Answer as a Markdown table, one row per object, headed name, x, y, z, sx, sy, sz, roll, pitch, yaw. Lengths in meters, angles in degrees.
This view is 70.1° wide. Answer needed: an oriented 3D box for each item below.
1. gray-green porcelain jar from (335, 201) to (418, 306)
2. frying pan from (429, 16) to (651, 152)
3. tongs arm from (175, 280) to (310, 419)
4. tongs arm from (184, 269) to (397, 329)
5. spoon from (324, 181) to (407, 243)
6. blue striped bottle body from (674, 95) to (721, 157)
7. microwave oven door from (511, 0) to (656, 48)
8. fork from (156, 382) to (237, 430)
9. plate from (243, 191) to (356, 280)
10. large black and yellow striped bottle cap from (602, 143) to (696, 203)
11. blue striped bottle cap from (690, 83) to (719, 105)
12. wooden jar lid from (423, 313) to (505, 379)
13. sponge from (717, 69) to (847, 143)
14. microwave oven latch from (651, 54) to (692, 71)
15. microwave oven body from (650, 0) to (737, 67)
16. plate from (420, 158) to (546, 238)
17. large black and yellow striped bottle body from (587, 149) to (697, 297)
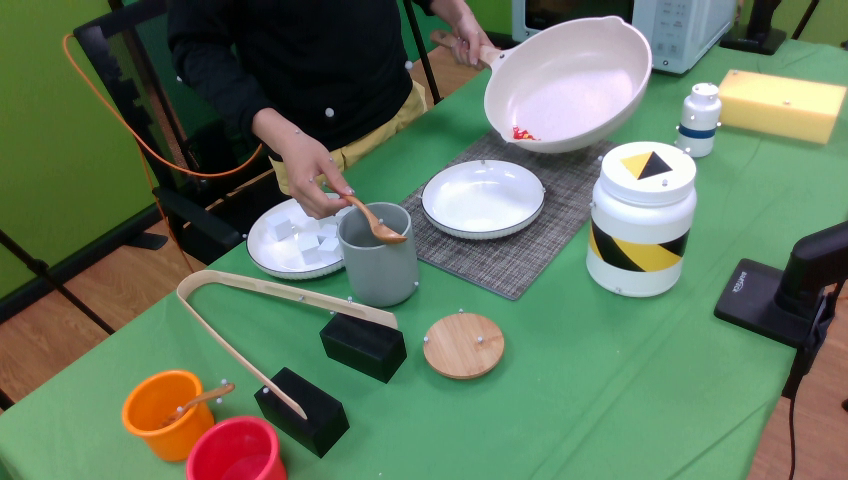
| name | x | y | z | sx | sy | sz | roll | pitch | yaw |
| --- | --- | --- | --- | --- | --- | --- | --- | --- | --- |
| gray-green porcelain jar | -0.064 | 0.024 | 0.872 | 0.106 | 0.127 | 0.105 | -4 | 40 | 4 |
| frying pan | 0.183 | -0.319 | 1.125 | 0.484 | 0.103 | 0.307 | 36 | 79 | 33 |
| tongs arm | -0.254 | 0.133 | 0.800 | 0.028 | 0.028 | 0.384 | -41 | 41 | -23 |
| tongs arm | -0.203 | 0.085 | 0.847 | 0.382 | 0.027 | 0.051 | 11 | 45 | 34 |
| spoon | -0.086 | -0.043 | 0.834 | 0.042 | 0.021 | 0.192 | -2 | 33 | -41 |
| blue striped bottle body | 0.486 | -0.213 | 1.072 | 0.063 | 0.121 | 0.063 | -4 | 41 | 4 |
| microwave oven door | 0.350 | -0.539 | 1.349 | 0.353 | 0.245 | 0.039 | 24 | 50 | 31 |
| fork | -0.262 | 0.189 | 0.690 | 0.206 | 0.018 | 0.028 | -34 | 9 | 42 |
| plate | -0.187 | -0.005 | 0.992 | 0.207 | 0.039 | 0.206 | -4 | 41 | 4 |
| large black and yellow striped bottle cap | 0.289 | -0.088 | 0.778 | 0.115 | 0.019 | 0.114 | -5 | 39 | 4 |
| blue striped bottle cap | 0.481 | -0.251 | 1.038 | 0.044 | 0.021 | 0.044 | -5 | 40 | 5 |
| wooden jar lid | 0.053 | 0.142 | 0.800 | 0.108 | 0.021 | 0.108 | -5 | 39 | 4 |
| sponge | 0.663 | -0.256 | 1.142 | 0.205 | 0.061 | 0.118 | 19 | 47 | 28 |
| microwave oven latch | 0.531 | -0.386 | 1.301 | 0.078 | 0.029 | 0.030 | 24 | 50 | 32 |
| microwave oven body | 0.475 | -0.602 | 1.411 | 0.438 | 0.261 | 0.327 | 23 | 50 | 32 |
| plate | 0.099 | -0.067 | 1.017 | 0.209 | 0.038 | 0.208 | -4 | 40 | 4 |
| large black and yellow striped bottle body | 0.298 | -0.026 | 0.835 | 0.131 | 0.185 | 0.130 | -4 | 41 | 4 |
